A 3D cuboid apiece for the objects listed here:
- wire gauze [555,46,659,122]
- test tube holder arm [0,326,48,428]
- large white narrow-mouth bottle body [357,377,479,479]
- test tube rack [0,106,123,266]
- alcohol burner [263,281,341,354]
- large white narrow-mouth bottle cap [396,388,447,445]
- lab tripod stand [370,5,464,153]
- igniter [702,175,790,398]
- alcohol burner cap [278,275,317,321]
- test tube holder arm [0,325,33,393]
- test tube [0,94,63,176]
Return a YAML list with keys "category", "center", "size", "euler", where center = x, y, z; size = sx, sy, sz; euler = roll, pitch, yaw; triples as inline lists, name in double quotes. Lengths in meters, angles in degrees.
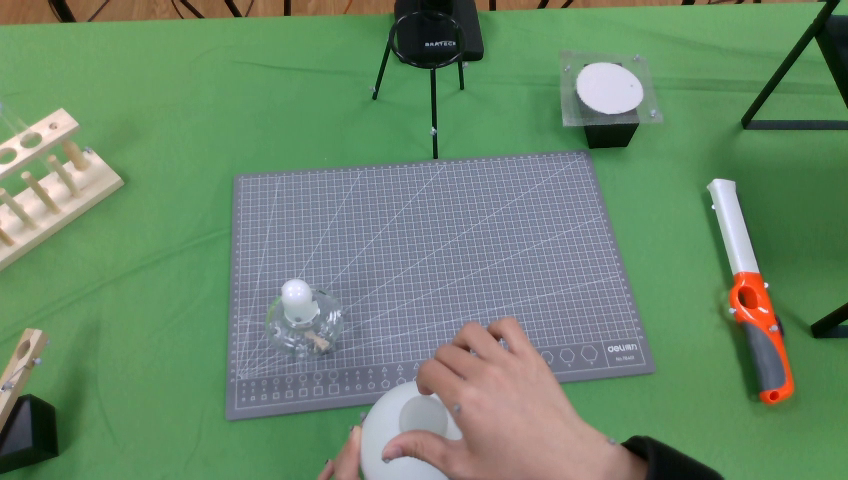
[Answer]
- category: "wire gauze"
  center: [0.230, -0.199, 0.773]
  size: [0.121, 0.011, 0.124]
  euler: [2, 61, -2]
- category: "test tube holder arm"
  center: [-0.386, 0.162, 0.544]
  size: [0.013, 0.015, 0.177]
  euler: [8, 62, 6]
- category: "large white narrow-mouth bottle body"
  center: [-0.006, 0.172, 0.513]
  size: [0.102, 0.196, 0.101]
  euler: [1, 61, -2]
- category: "test tube rack"
  center: [-0.466, -0.035, 0.659]
  size: [0.066, 0.086, 0.242]
  euler: [40, 67, 17]
- category: "alcohol burner"
  center: [-0.123, 0.070, 0.603]
  size: [0.078, 0.120, 0.077]
  euler: [2, 60, -4]
- category: "large white narrow-mouth bottle cap"
  center: [-0.002, 0.125, 0.432]
  size: [0.038, 0.024, 0.037]
  euler: [1, 61, -2]
- category: "lab tripod stand"
  center: [0.001, -0.204, 0.748]
  size: [0.148, 0.132, 0.147]
  euler: [2, 62, -4]
- category: "igniter"
  center: [0.367, 0.044, 0.695]
  size: [0.057, 0.025, 0.274]
  euler: [6, 61, -12]
- category: "alcohol burner cap"
  center: [-0.121, 0.053, 0.571]
  size: [0.034, 0.048, 0.033]
  euler: [0, 57, 0]
- category: "test tube holder arm"
  center: [-0.385, 0.122, 0.565]
  size: [0.010, 0.015, 0.087]
  euler: [6, 62, 5]
- category: "test tube"
  center: [-0.430, -0.117, 0.648]
  size: [0.017, 0.151, 0.017]
  euler: [0, 60, 1]
